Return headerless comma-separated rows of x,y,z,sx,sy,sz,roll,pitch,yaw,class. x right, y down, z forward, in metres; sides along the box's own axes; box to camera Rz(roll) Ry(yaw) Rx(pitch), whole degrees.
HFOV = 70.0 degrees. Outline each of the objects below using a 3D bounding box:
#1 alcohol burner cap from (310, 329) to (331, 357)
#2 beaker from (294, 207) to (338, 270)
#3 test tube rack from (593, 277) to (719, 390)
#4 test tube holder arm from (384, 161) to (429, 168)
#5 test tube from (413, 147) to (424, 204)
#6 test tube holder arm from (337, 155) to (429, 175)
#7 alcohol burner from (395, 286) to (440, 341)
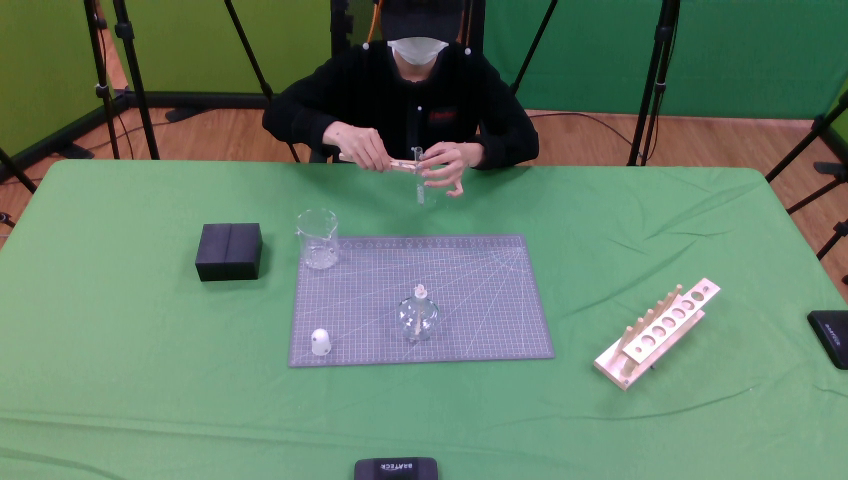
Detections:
-0.173,0.168,1.005,0.034,0.048,0.033,2,46,-2,alcohol burner cap
-0.196,0.003,1.123,0.074,0.101,0.083,-23,53,-24,beaker
0.401,0.148,1.043,0.242,0.085,0.066,-30,55,-29,test tube rack
-0.034,-0.143,1.159,0.088,0.015,0.010,2,46,0,test tube holder arm
-0.010,-0.121,1.175,0.017,0.151,0.017,-1,52,1,test tube
-0.079,-0.143,1.158,0.178,0.015,0.013,8,46,5,test tube holder arm
-0.010,0.116,1.018,0.078,0.119,0.077,3,47,-3,alcohol burner
